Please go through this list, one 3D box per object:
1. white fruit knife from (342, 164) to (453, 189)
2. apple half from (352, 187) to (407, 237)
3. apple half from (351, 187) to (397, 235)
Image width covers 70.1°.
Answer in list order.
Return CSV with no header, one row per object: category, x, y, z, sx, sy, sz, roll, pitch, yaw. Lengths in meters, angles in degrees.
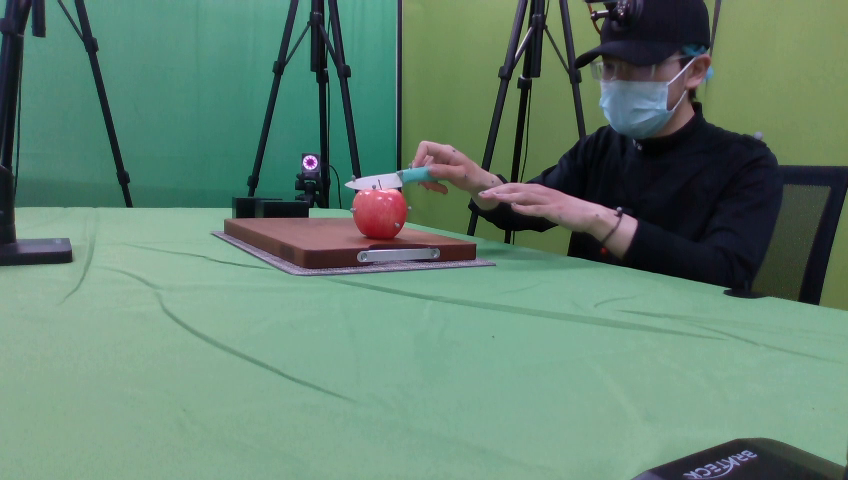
white fruit knife,-0.035,-0.097,0.924,0.208,0.027,0.016,-13,11,-39
apple half,-0.059,-0.039,0.883,0.081,0.074,0.053,2,11,-37
apple half,-0.082,-0.046,0.913,0.082,0.081,0.032,-3,14,-36
